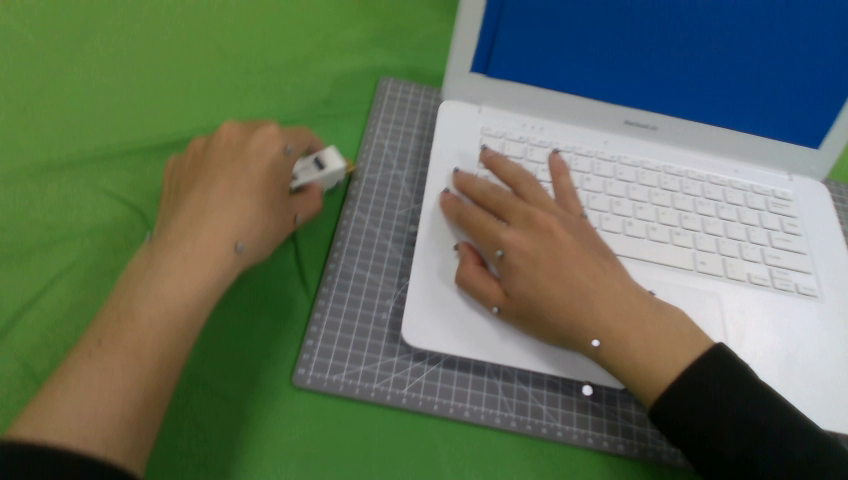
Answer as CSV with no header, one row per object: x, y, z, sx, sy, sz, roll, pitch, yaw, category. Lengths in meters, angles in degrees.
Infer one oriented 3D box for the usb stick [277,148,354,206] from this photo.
-0.078,-0.050,0.452,0.059,0.027,0.021,-27,64,-29,usb stick

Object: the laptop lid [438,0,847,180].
0.205,-0.179,0.472,0.357,0.243,0.013,10,33,-3,laptop lid

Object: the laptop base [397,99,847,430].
0.167,0.011,0.471,0.355,0.023,0.233,11,58,-4,laptop base
